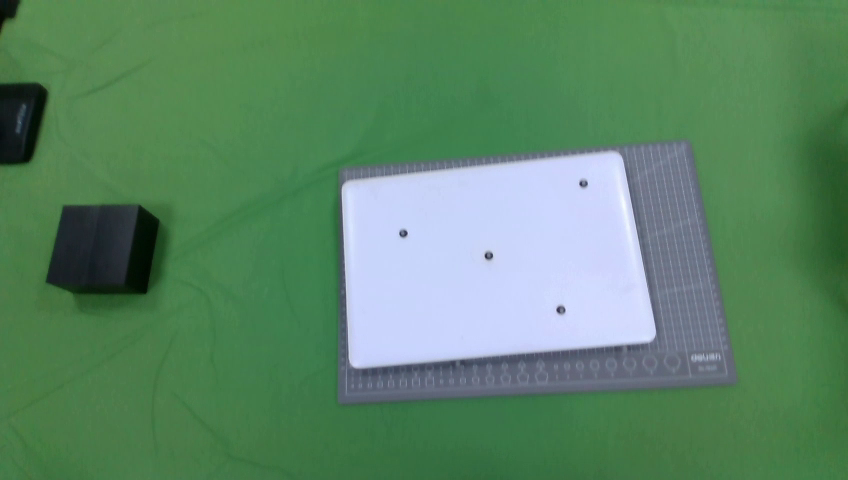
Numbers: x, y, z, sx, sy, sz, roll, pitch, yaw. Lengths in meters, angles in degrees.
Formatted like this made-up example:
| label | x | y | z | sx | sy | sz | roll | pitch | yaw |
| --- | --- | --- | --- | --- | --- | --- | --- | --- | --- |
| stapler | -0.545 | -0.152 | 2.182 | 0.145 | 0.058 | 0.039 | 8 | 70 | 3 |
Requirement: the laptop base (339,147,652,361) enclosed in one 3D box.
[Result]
| label | x | y | z | sx | sy | sz | roll | pitch | yaw |
| --- | --- | --- | --- | --- | --- | --- | --- | --- | --- |
| laptop base | 0.076 | 0.013 | 0.732 | 0.354 | 0.023 | 0.234 | -6 | 75 | 2 |

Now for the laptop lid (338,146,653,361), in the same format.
| label | x | y | z | sx | sy | sz | roll | pitch | yaw |
| --- | --- | --- | --- | --- | --- | --- | --- | --- | --- |
| laptop lid | 0.075 | 0.012 | 0.720 | 0.356 | 0.013 | 0.240 | -4 | 74 | 3 |
